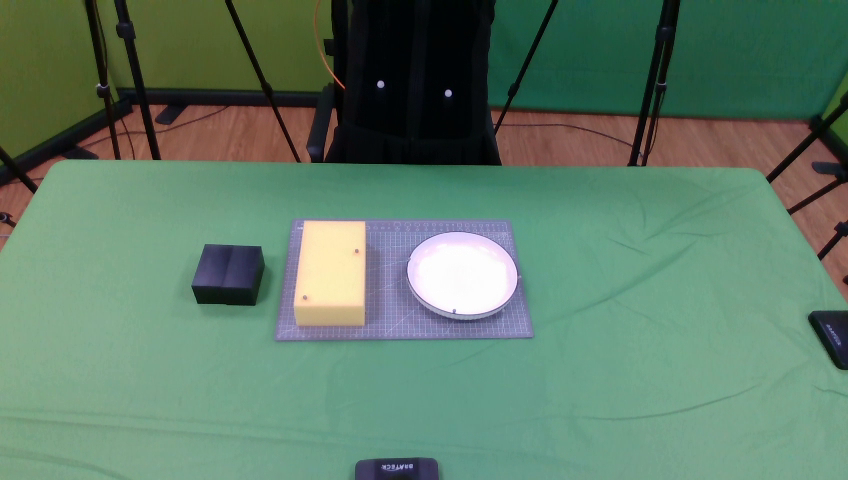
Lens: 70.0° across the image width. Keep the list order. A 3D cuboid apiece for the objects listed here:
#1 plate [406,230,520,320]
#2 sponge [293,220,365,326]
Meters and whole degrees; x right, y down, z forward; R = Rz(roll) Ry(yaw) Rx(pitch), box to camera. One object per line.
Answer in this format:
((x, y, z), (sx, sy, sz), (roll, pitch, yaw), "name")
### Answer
((0.070, 0.067, 1.122), (0.209, 0.038, 0.208), (2, 46, -2), "plate")
((-0.167, 0.056, 1.101), (0.118, 0.061, 0.205), (-1, 47, -4), "sponge")
